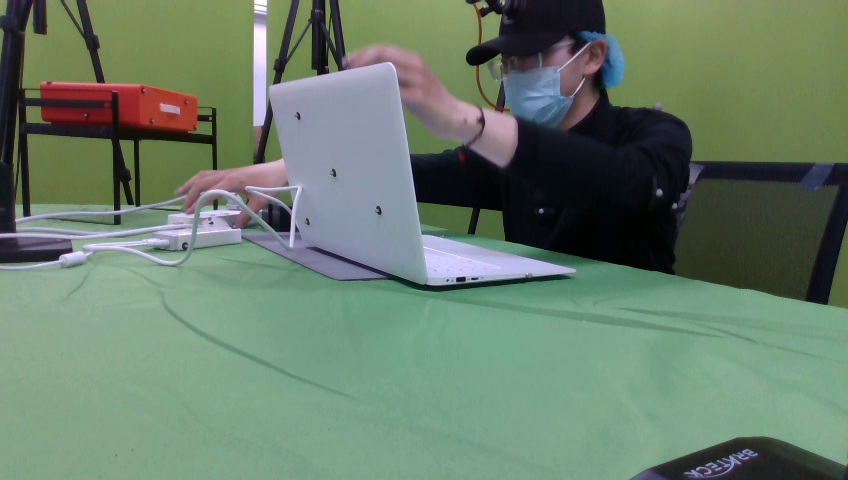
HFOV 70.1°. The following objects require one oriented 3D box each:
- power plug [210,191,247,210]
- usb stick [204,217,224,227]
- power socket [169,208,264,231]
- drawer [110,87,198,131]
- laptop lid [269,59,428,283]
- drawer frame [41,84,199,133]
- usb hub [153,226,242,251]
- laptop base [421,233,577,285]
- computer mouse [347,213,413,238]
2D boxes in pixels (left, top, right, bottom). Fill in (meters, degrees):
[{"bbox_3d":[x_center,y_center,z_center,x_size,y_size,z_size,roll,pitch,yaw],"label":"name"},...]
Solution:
[{"bbox_3d":[-0.386,-0.071,1.204,0.072,0.052,0.035,8,10,25],"label":"power plug"},{"bbox_3d":[-0.345,-0.019,1.008,0.021,0.027,0.059,-37,-4,-9],"label":"usb stick"},{"bbox_3d":[-0.381,-0.038,1.128,0.072,0.032,0.227,4,8,16],"label":"power socket"},{"bbox_3d":[-0.602,-0.263,1.225,0.211,0.073,0.195,3,8,10],"label":"drawer"},{"bbox_3d":[-0.110,-0.087,0.752,0.013,0.241,0.355,-18,19,-30],"label":"laptop lid"},{"bbox_3d":[-0.604,-0.264,1.225,0.213,0.082,0.202,3,8,8],"label":"drawer frame"},{"bbox_3d":[-0.337,-0.003,0.907,0.049,0.025,0.125,7,9,28],"label":"usb hub"},{"bbox_3d":[0.007,0.022,0.850,0.237,0.023,0.352,1,7,-34],"label":"laptop base"},{"bbox_3d":[-0.079,-0.025,1.080,0.117,0.041,0.062,-5,12,-18],"label":"computer mouse"}]
